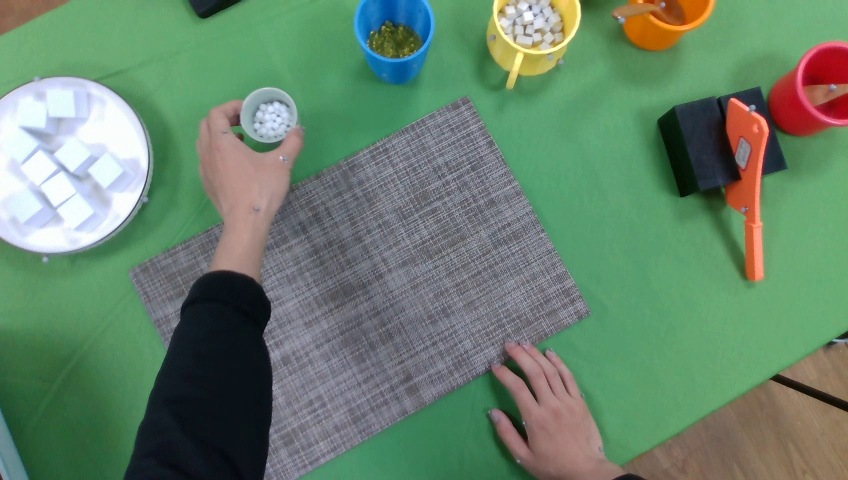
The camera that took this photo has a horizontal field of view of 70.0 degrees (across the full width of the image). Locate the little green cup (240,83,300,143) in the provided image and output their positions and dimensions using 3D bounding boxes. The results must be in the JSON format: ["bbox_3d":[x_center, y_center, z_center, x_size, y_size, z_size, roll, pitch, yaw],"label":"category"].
[{"bbox_3d":[-0.167,-0.138,0.670,0.061,0.039,0.061,0,83,3],"label":"little green cup"}]

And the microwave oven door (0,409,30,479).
[{"bbox_3d":[-0.415,0.309,0.538,0.039,0.244,0.355,-26,85,-4],"label":"microwave oven door"}]

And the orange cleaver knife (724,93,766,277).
[{"bbox_3d":[0.362,-0.059,0.690,0.012,0.076,0.213,-13,114,0],"label":"orange cleaver knife"}]

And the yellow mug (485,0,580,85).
[{"bbox_3d":[0.120,-0.244,0.710,0.100,0.064,0.130,20,85,1],"label":"yellow mug"}]

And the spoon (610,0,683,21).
[{"bbox_3d":[0.249,-0.261,0.674,0.021,0.194,0.041,-35,83,40],"label":"spoon"}]

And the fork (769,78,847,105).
[{"bbox_3d":[0.502,-0.180,0.673,0.206,0.019,0.028,-4,81,40],"label":"fork"}]

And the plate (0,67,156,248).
[{"bbox_3d":[-0.410,-0.093,0.697,0.208,0.039,0.207,0,84,-1],"label":"plate"}]

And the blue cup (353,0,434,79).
[{"bbox_3d":[-0.034,-0.229,0.688,0.093,0.100,0.092,0,85,-2],"label":"blue cup"}]
